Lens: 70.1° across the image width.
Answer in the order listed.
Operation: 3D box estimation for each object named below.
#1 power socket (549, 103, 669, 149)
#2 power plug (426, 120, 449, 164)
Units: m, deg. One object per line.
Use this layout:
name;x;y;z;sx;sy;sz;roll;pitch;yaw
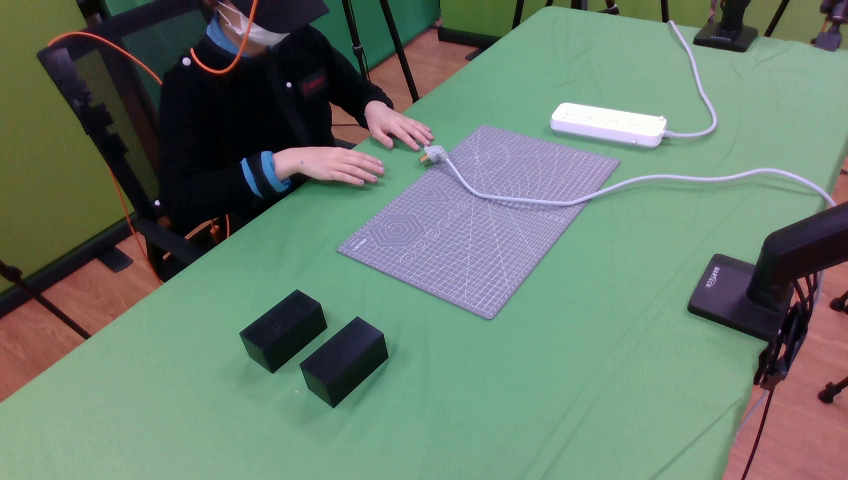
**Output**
power socket;0.353;-0.222;1.169;0.225;0.033;0.072;17;47;25
power plug;0.034;-0.180;1.142;0.053;0.072;0.035;32;25;-17
